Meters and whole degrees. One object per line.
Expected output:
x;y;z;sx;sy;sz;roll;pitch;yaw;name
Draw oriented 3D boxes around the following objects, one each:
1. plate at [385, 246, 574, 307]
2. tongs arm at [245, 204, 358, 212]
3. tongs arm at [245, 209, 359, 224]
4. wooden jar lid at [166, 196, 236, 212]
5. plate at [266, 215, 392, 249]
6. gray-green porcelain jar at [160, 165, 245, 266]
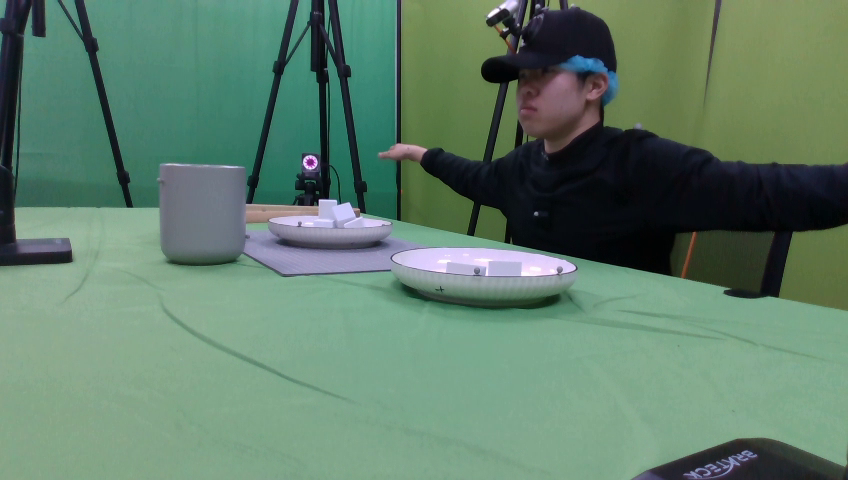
0.060;0.041;0.678;0.208;0.039;0.207;3;7;0;plate
-0.342;-0.068;1.409;0.387;0.026;0.050;0;9;-27;tongs arm
-0.300;-0.052;1.341;0.390;0.028;0.028;-4;8;-40;tongs arm
-0.369;-0.060;1.001;0.108;0.020;0.108;3;6;0;wooden jar lid
-0.159;-0.015;1.019;0.209;0.038;0.209;3;7;0;plate
-0.291;-0.034;0.799;0.106;0.126;0.106;2;8;0;gray-green porcelain jar
